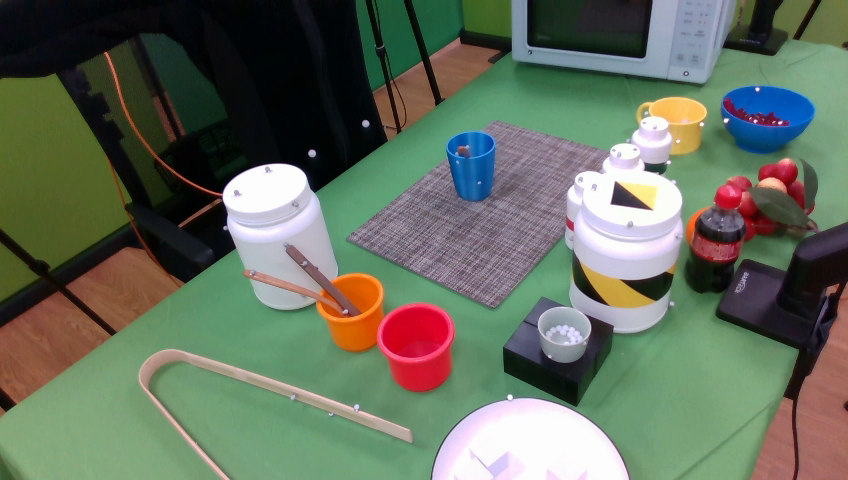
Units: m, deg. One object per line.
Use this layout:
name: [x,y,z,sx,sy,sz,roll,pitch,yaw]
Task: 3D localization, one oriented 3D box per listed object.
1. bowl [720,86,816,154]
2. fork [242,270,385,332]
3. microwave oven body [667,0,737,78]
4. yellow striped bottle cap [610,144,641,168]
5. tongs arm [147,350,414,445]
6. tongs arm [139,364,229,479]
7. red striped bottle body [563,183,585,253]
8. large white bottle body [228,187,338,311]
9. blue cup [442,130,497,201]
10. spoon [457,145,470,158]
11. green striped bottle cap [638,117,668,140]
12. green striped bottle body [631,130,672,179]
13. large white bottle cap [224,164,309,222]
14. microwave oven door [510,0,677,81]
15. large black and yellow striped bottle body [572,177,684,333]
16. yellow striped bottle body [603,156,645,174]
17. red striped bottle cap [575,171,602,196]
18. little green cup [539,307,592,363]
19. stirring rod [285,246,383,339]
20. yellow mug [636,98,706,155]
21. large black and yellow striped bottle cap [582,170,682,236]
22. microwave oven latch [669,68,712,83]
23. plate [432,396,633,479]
bowl: [0.605,-0.206,1.081,0.151,0.077,0.150,-5,40,5]
fork: [-0.142,0.082,0.802,0.209,0.018,0.028,28,38,-26]
microwave oven body: [0.462,-0.552,1.369,0.439,0.261,0.326,15,46,26]
yellow striped bottle cap: [0.307,-0.128,0.923,0.044,0.019,0.044,-6,39,5]
tongs arm: [-0.193,0.200,0.757,0.382,0.026,0.051,14,49,24]
tongs arm: [-0.241,0.255,0.707,0.384,0.028,0.028,27,59,34]
red striped bottle body: [0.246,-0.041,0.910,0.063,0.120,0.062,-2,38,2]
large white bottle body: [-0.207,-0.002,0.883,0.130,0.185,0.130,-4,40,4]
blue cup: [0.084,-0.123,1.041,0.092,0.100,0.092,-4,43,4]
spoon: [0.068,-0.135,0.972,0.041,0.021,0.194,4,-2,10]
green striped bottle cap: [0.369,-0.180,0.974,0.044,0.020,0.044,-4,41,4]
green striped bottle body: [0.375,-0.140,1.007,0.063,0.120,0.063,-5,40,4]
large white bottle cap: [-0.216,-0.066,0.829,0.115,0.018,0.114,-4,40,4]
microwave oven door: [0.354,-0.478,1.290,0.353,0.245,0.039,15,45,25]
large black and yellow striped bottle body: [0.262,0.017,0.788,0.131,0.185,0.130,-5,40,4]
yellow striped bottle body: [0.313,-0.089,0.956,0.063,0.121,0.062,-4,40,4]
red striped bottle cap: [0.242,-0.081,0.876,0.044,0.018,0.044,-5,44,5]
little green cup: [0.169,0.115,0.721,0.061,0.039,0.061,-4,42,4]
stirring rod: [-0.121,0.071,0.819,0.176,0.006,0.014,44,52,-6]
yellow mug: [0.453,-0.217,1.128,0.100,0.064,0.129,-34,46,-27]
large black and yellow striped bottle cap: [0.252,-0.048,0.735,0.115,0.019,0.114,-3,40,3]
microwave oven latch: [0.556,-0.348,1.263,0.078,0.029,0.030,15,46,26]
plate: [0.112,0.261,0.634,0.209,0.038,0.208,-5,40,4]
